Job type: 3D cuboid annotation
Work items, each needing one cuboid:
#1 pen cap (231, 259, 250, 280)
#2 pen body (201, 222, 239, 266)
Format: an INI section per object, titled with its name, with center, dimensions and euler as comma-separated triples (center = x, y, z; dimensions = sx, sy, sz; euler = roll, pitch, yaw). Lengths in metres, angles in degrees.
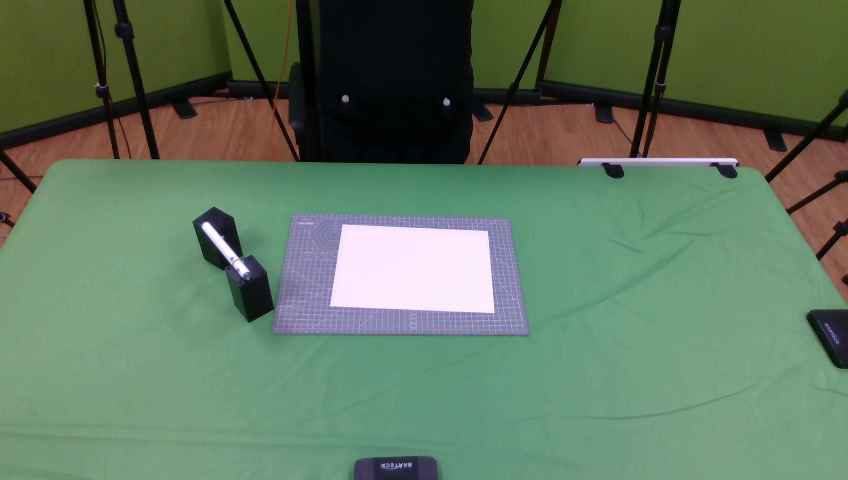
[pen cap]
center = -0.299, 0.049, 0.991
dimensions = 0.017, 0.017, 0.038
euler = -29, 54, -28
[pen body]
center = -0.338, 0.014, 1.023
dimensions = 0.017, 0.017, 0.143
euler = -29, 53, -28
